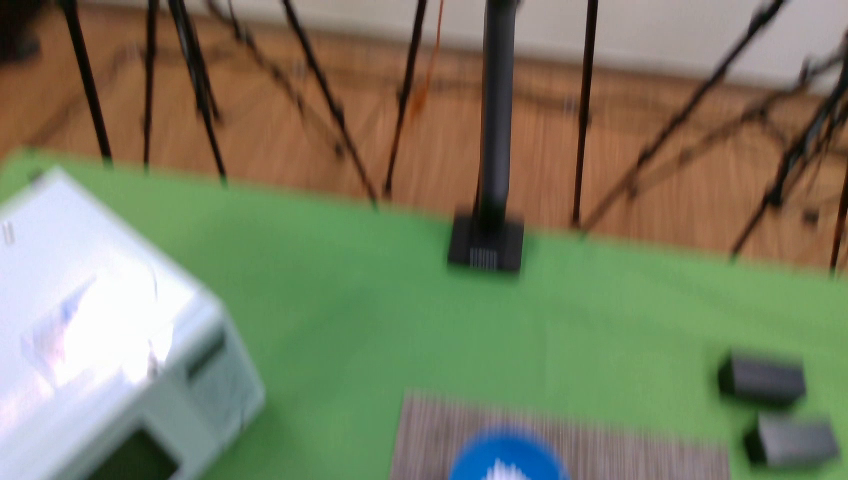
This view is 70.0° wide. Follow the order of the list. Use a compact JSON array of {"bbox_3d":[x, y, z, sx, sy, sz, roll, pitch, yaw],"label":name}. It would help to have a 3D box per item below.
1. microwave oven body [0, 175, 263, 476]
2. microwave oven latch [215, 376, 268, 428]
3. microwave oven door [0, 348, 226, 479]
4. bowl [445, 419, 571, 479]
[{"bbox_3d":[-0.471,0.196,0.701,0.324,0.262,0.440,33,61,19],"label":"microwave oven body"},{"bbox_3d":[-0.247,0.212,0.814,0.030,0.030,0.079,34,61,20],"label":"microwave oven latch"},{"bbox_3d":[-0.380,0.293,0.629,0.039,0.246,0.355,32,60,20],"label":"microwave oven door"},{"bbox_3d":[0.100,0.307,0.750,0.151,0.077,0.150,1,54,-1],"label":"bowl"}]
